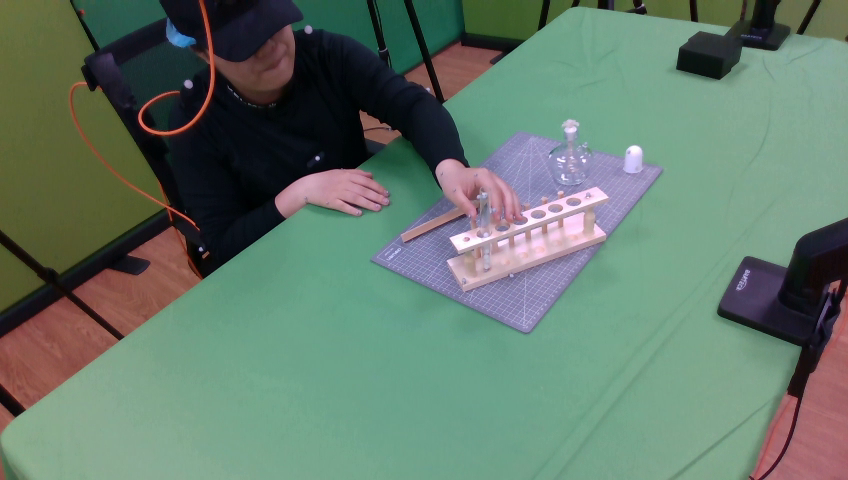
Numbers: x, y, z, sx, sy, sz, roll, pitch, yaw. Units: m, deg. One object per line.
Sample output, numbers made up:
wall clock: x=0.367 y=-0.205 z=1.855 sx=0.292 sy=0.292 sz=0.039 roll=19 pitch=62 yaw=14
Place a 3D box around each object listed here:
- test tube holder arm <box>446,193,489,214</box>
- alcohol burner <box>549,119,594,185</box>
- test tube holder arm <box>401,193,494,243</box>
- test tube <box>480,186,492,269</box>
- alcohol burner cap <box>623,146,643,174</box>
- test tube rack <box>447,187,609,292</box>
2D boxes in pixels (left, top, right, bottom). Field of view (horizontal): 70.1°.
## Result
test tube holder arm: x=0.078 y=-0.058 z=1.038 sx=0.088 sy=0.015 sz=0.010 roll=-26 pitch=14 yaw=-16
alcohol burner: x=0.254 y=-0.155 z=1.043 sx=0.078 sy=0.120 sz=0.077 roll=-7 pitch=40 yaw=6
test tube holder arm: x=0.041 y=-0.038 z=1.020 sx=0.179 sy=0.015 sz=0.013 roll=-26 pitch=14 yaw=-16
test tube: x=0.088 y=-0.014 z=0.852 sx=0.017 sy=0.151 sz=0.017 roll=-3 pitch=43 yaw=3
alcohol burner cap: x=0.369 y=-0.142 z=1.061 sx=0.034 sy=0.048 sz=0.033 roll=-7 pitch=40 yaw=6
test tube rack: x=0.155 y=-0.011 z=0.913 sx=0.243 sy=0.085 sz=0.066 roll=-19 pitch=41 yaw=-12
